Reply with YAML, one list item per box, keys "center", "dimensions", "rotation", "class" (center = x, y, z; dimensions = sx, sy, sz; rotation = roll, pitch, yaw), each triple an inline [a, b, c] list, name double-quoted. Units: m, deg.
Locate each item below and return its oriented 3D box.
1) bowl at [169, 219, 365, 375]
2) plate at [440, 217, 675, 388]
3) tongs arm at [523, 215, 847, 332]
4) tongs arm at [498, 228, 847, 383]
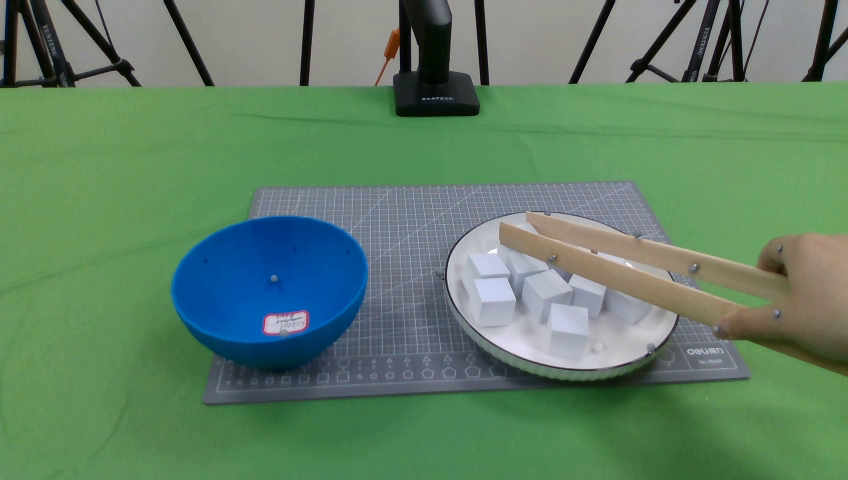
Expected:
- center: [-0.122, 0.057, 0.500]
  dimensions: [0.151, 0.077, 0.150]
  rotation: [2, 38, -1]
  class: "bowl"
- center: [0.117, 0.054, 0.551]
  dimensions: [0.208, 0.039, 0.205]
  rotation: [2, 39, -1]
  class: "plate"
- center: [0.221, 0.038, 0.458]
  dimensions: [0.381, 0.027, 0.051]
  rotation: [18, 35, 41]
  class: "tongs arm"
- center: [0.202, 0.048, 0.443]
  dimensions: [0.028, 0.028, 0.384]
  rotation: [-23, 30, -37]
  class: "tongs arm"
